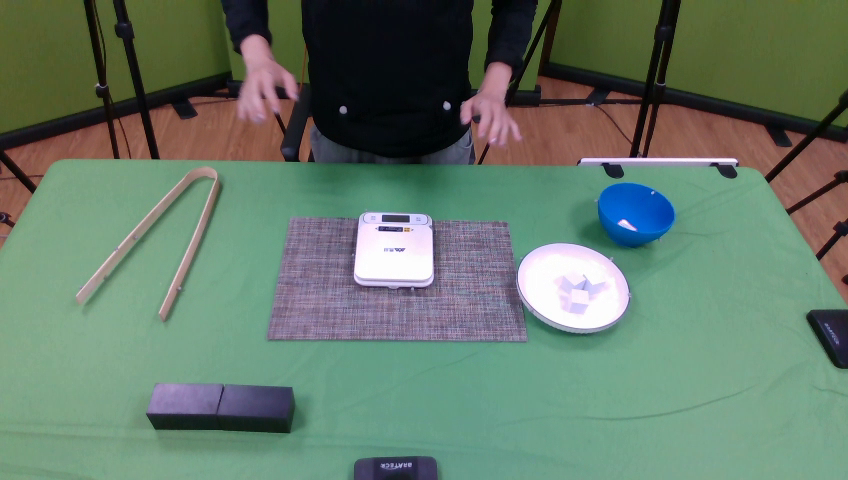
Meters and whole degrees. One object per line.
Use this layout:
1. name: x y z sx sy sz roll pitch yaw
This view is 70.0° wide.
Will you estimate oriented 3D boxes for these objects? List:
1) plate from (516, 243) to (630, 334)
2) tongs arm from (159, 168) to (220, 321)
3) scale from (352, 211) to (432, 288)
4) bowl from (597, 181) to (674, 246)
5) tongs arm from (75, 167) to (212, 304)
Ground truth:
1. plate: 0.272 0.092 1.120 0.208 0.039 0.206 2 46 -2
2. tongs arm: -0.446 -0.006 1.164 0.028 0.028 0.385 1 46 0
3. scale: -0.060 0.010 1.171 0.149 0.032 0.199 2 46 -3
4. bowl: 0.418 -0.042 1.230 0.151 0.077 0.150 2 46 -2
5. tongs arm: -0.526 -0.021 1.167 0.051 0.026 0.383 13 46 7
